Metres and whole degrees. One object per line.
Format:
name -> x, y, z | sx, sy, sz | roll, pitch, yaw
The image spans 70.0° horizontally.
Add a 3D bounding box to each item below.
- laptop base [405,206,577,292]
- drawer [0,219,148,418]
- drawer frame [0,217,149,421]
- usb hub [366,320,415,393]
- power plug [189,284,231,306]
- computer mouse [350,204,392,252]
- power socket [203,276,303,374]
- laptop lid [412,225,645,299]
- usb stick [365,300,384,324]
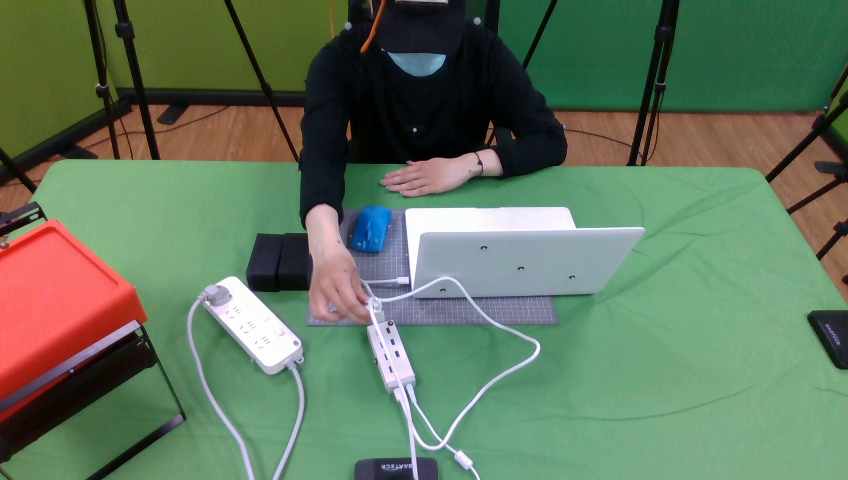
laptop base -> 0.143, 0.018, 1.196 | 0.355, 0.023, 0.234 | -1, 43, -6
drawer -> -0.509, 0.093, 0.783 | 0.193, 0.073, 0.211 | 32, 53, 24
drawer frame -> -0.510, 0.093, 0.780 | 0.201, 0.083, 0.213 | 31, 52, 23
usb hub -> -0.056, 0.192, 1.008 | 0.049, 0.025, 0.124 | -12, 48, -16
power plug -> -0.367, 0.100, 1.037 | 0.072, 0.053, 0.035 | -24, 54, -27
computer mouse -> -0.104, -0.027, 1.202 | 0.063, 0.041, 0.116 | 11, 51, 3
power socket -> -0.296, 0.141, 1.034 | 0.072, 0.033, 0.225 | -34, 58, -30
laptop lid -> 0.161, 0.042, 1.012 | 0.357, 0.242, 0.013 | 0, 59, -7
usb stick -> -0.077, 0.116, 0.956 | 0.027, 0.059, 0.021 | -7, 62, -4
